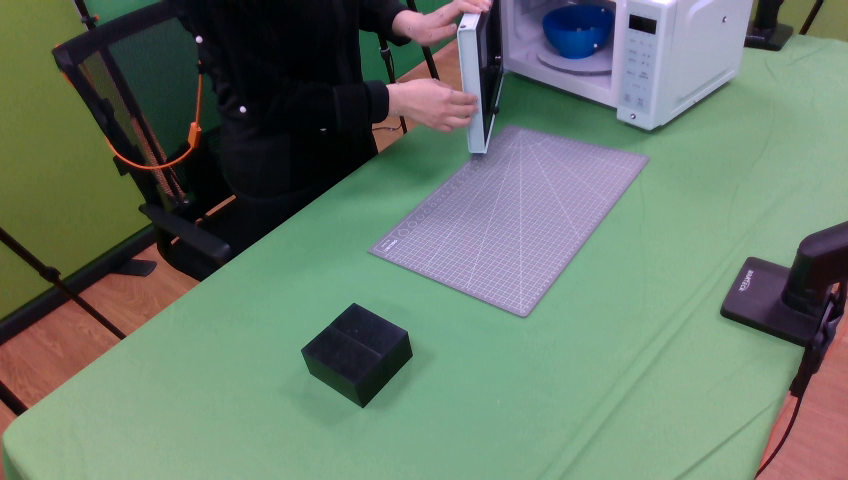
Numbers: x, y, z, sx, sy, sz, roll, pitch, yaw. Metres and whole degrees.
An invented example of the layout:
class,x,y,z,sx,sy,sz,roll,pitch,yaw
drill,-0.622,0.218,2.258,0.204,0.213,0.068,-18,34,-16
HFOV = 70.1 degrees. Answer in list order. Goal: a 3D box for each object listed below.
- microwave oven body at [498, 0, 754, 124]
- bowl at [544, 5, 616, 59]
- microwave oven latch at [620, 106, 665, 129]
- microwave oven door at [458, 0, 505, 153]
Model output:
class,x,y,z,sx,sy,sz,roll,pitch,yaw
microwave oven body,0.402,-0.458,1.259,0.327,0.261,0.437,-33,45,-24
bowl,0.332,-0.441,1.302,0.151,0.077,0.150,-3,39,3
microwave oven latch,0.413,-0.236,1.146,0.030,0.029,0.078,-32,44,-24
microwave oven door,0.121,-0.373,1.206,0.039,0.245,0.355,2,41,13
